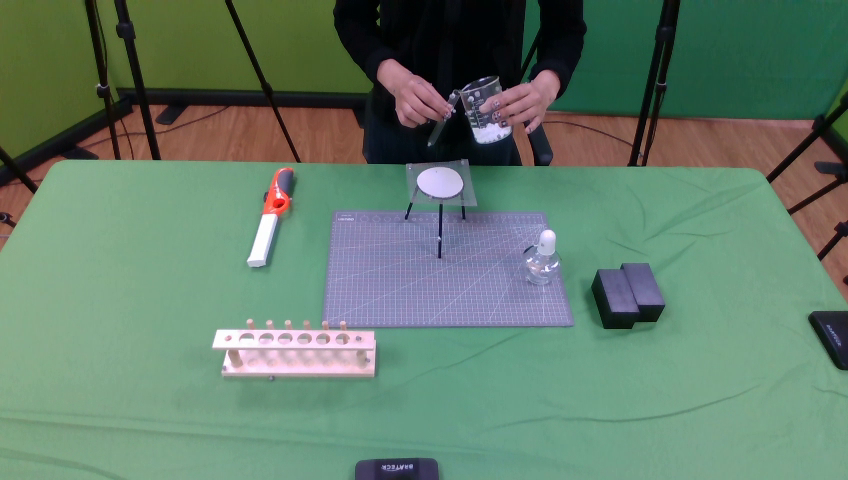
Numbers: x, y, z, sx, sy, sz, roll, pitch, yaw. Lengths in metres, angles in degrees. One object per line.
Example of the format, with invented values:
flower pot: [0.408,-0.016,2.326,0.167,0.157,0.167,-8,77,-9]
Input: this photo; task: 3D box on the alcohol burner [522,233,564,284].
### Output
alcohol burner: [0.223,0.027,1.121,0.078,0.119,0.077,2,48,-2]

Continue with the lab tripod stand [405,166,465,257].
lab tripod stand: [0.030,-0.063,1.180,0.148,0.132,0.147,3,47,-3]

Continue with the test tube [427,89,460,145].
test tube: [0.035,-0.227,1.135,0.017,0.150,0.017,9,58,-16]

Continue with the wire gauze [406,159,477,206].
wire gauze: [0.031,-0.108,1.129,0.125,0.011,0.120,-1,48,-5]

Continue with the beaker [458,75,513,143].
beaker: [0.107,-0.227,1.058,0.083,0.100,0.074,3,32,46]

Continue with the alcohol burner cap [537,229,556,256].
alcohol burner cap: [0.223,0.001,1.095,0.034,0.048,0.033,-1,44,1]

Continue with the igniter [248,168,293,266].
igniter: [-0.307,-0.055,1.225,0.057,0.025,0.275,-3,45,6]

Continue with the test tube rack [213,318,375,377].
test tube rack: [-0.202,0.169,0.977,0.242,0.085,0.066,1,46,-3]
